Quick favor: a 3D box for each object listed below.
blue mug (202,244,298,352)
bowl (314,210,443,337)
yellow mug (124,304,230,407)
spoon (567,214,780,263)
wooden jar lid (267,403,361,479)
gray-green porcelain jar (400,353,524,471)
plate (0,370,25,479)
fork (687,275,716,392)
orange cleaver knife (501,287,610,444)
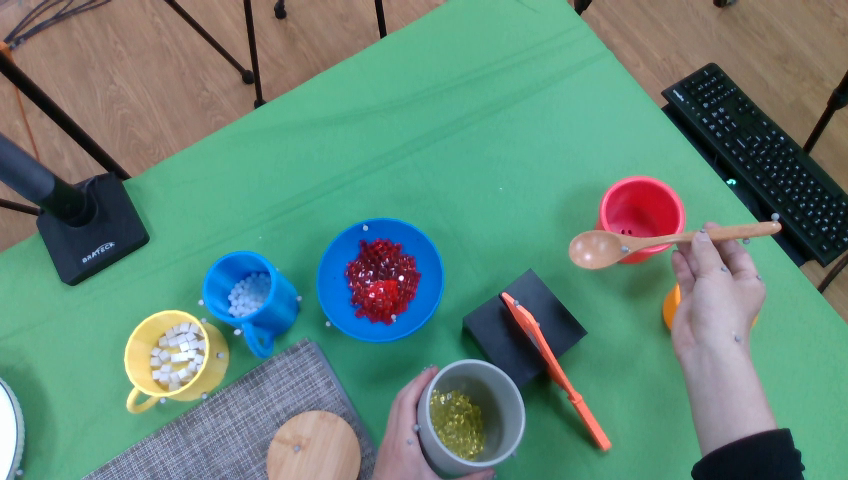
[{"bbox_3d":[-0.201,0.075,0.718,0.082,0.106,0.115,-13,72,-1],"label":"blue mug"},{"bbox_3d":[-0.050,0.048,0.734,0.151,0.077,0.150,-1,73,3],"label":"bowl"},{"bbox_3d":[-0.303,0.144,0.722,0.099,0.064,0.130,34,78,13],"label":"yellow mug"},{"bbox_3d":[0.235,-0.005,0.589,0.193,0.022,0.041,-8,74,34],"label":"spoon"},{"bbox_3d":[-0.126,0.244,0.702,0.108,0.021,0.108,-1,73,2],"label":"wooden jar lid"},{"bbox_3d":[0.034,0.189,0.651,0.106,0.127,0.105,8,62,-14],"label":"gray-green porcelain jar"},{"bbox_3d":[-0.573,0.240,0.719,0.207,0.039,0.206,-1,72,2],"label":"plate"},{"bbox_3d":[0.307,0.096,0.664,0.028,0.019,0.206,26,31,7],"label":"fork"},{"bbox_3d":[0.148,0.142,0.692,0.012,0.077,0.212,-35,103,-8],"label":"orange cleaver knife"}]
